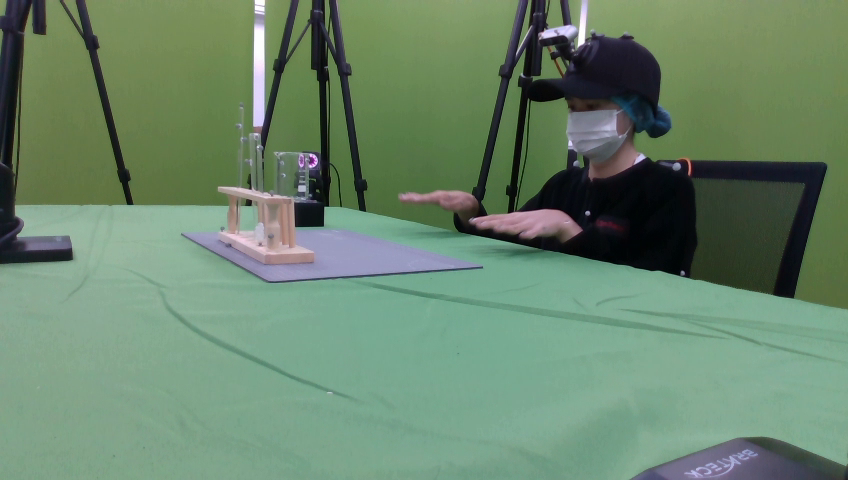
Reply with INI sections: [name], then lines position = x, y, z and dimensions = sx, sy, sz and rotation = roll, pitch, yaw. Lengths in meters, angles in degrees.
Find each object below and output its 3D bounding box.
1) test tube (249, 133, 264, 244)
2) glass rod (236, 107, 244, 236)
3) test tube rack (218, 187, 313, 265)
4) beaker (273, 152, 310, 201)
[test tube]
position = -0.228, -0.070, 0.824
dimensions = 0.017, 0.150, 0.017
rotation = -1, 5, 0
[glass rod]
position = -0.282, -0.102, 0.924
dimensions = 0.008, 0.199, 0.008
rotation = 2, 2, 0
[test tube rack]
position = -0.235, -0.027, 0.872
dimensions = 0.067, 0.085, 0.241
rotation = -2, 8, -32
[beaker]
position = -0.277, -0.131, 1.249
dimensions = 0.073, 0.100, 0.084
rotation = 6, 8, 26
